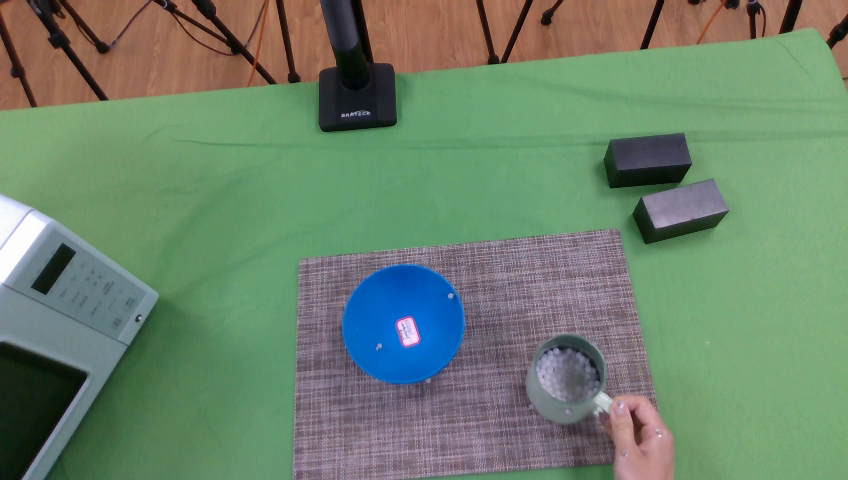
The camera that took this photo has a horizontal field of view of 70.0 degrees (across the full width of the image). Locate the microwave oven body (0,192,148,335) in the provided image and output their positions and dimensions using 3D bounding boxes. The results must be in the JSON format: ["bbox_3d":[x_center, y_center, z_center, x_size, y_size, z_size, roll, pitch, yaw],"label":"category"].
[{"bbox_3d":[-0.603,0.149,0.689,0.325,0.262,0.440,21,70,13],"label":"microwave oven body"}]

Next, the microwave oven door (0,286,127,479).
[{"bbox_3d":[-0.488,0.233,0.638,0.039,0.246,0.354,21,69,14],"label":"microwave oven door"}]

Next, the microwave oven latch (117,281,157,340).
[{"bbox_3d":[-0.388,0.091,0.804,0.030,0.030,0.079,23,71,13],"label":"microwave oven latch"}]

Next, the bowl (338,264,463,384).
[{"bbox_3d":[-0.026,0.113,0.761,0.151,0.077,0.150,-2,66,4],"label":"bowl"}]

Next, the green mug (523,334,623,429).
[{"bbox_3d":[0.175,0.172,0.703,0.124,0.106,0.092,37,75,21],"label":"green mug"}]
